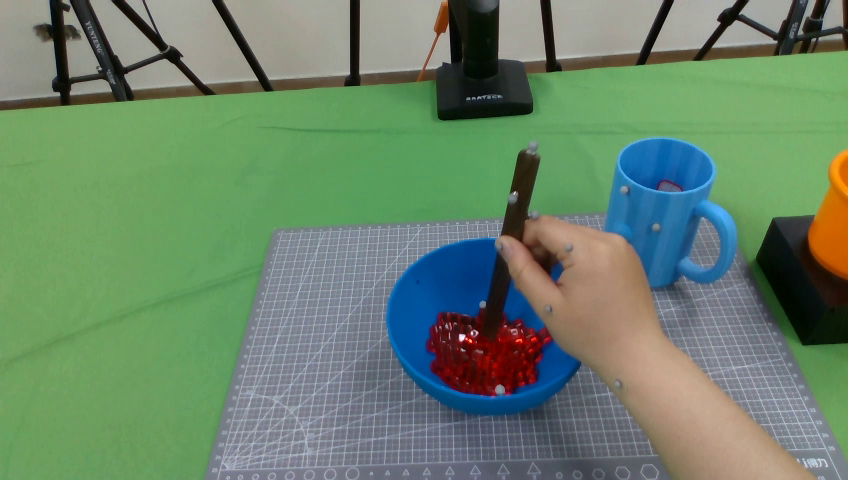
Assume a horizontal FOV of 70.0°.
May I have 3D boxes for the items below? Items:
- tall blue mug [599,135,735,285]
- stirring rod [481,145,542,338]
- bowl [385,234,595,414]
[{"bbox_3d":[0.211,-0.020,0.519,0.106,0.109,0.077,17,48,22],"label":"tall blue mug"},{"bbox_3d":[0.057,0.010,0.409,0.014,0.177,0.006,22,46,17],"label":"stirring rod"},{"bbox_3d":[0.049,0.075,0.461,0.151,0.077,0.150,-3,44,3],"label":"bowl"}]
